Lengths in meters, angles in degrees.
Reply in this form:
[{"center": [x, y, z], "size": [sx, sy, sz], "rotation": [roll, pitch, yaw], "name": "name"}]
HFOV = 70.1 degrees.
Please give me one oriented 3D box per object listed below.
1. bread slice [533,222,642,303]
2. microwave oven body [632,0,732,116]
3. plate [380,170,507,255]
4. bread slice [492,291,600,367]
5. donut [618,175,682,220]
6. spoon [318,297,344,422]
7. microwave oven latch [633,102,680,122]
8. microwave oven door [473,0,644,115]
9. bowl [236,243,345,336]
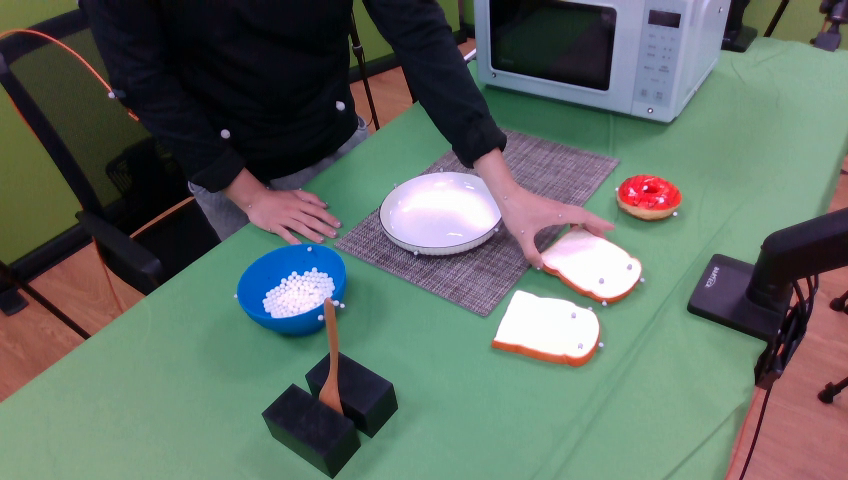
[{"center": [0.244, 0.035, 0.879], "size": [0.133, 0.018, 0.107], "rotation": [32, 58, 30], "name": "bread slice"}, {"center": [0.377, -0.462, 1.267], "size": [0.438, 0.261, 0.327], "rotation": [21, 48, 30], "name": "microwave oven body"}, {"center": [0.033, -0.041, 0.995], "size": [0.207, 0.039, 0.206], "rotation": [-4, 40, 4], "name": "plate"}, {"center": [0.169, 0.118, 0.811], "size": [0.131, 0.019, 0.105], "rotation": [11, 44, 21], "name": "bread slice"}, {"center": [0.366, -0.070, 0.981], "size": [0.099, 0.048, 0.098], "rotation": [-3, 39, 3], "name": "donut"}, {"center": [-0.107, 0.139, 0.687], "size": [0.041, 0.194, 0.022], "rotation": [27, 37, 32], "name": "spoon"}, {"center": [0.444, -0.249, 1.157], "size": [0.078, 0.029, 0.030], "rotation": [21, 49, 30], "name": "microwave oven latch"}, {"center": [0.257, -0.396, 1.199], "size": [0.353, 0.245, 0.039], "rotation": [21, 48, 29], "name": "microwave oven door"}, {"center": [-0.180, 0.082, 0.855], "size": [0.151, 0.077, 0.150], "rotation": [-4, 40, 4], "name": "bowl"}]
